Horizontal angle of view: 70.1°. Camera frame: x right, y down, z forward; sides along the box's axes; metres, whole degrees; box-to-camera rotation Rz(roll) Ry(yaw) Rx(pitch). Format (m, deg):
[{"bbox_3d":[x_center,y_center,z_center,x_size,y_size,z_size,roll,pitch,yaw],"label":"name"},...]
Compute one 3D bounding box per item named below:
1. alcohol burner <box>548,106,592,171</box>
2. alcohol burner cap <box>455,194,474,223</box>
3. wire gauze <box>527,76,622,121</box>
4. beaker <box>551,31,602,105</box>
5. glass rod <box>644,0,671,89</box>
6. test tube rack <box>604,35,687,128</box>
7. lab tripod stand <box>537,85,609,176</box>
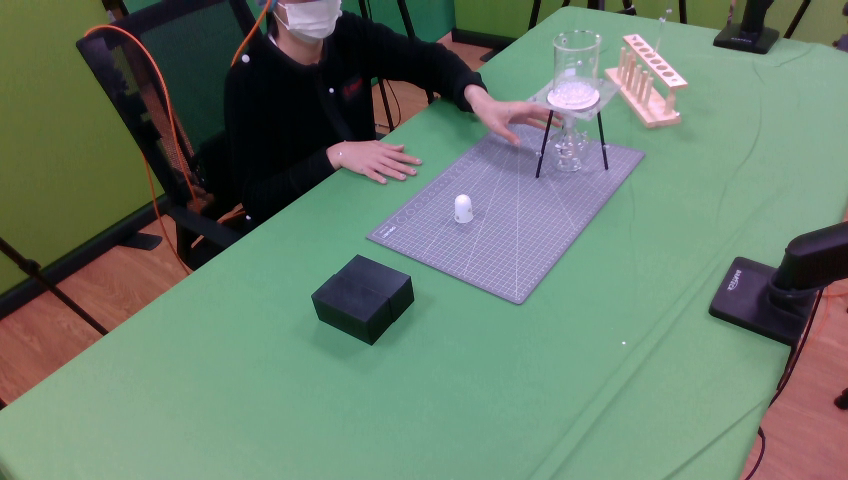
[{"bbox_3d":[0.258,-0.183,1.072,0.078,0.119,0.077,-6,41,6],"label":"alcohol burner"},{"bbox_3d":[0.066,-0.054,1.006,0.034,0.048,0.033,-5,40,5],"label":"alcohol burner cap"},{"bbox_3d":[0.255,-0.247,1.031,0.124,0.011,0.122,23,49,34],"label":"wire gauze"},{"bbox_3d":[0.252,-0.282,0.998,0.084,0.101,0.073,-16,42,-7],"label":"beaker"},{"bbox_3d":[0.463,-0.387,1.204,0.008,0.200,0.008,0,47,1],"label":"glass rod"},{"bbox_3d":[0.447,-0.330,1.241,0.067,0.085,0.241,-9,41,-2],"label":"test tube rack"},{"bbox_3d":[0.259,-0.192,1.068,0.148,0.132,0.147,-4,43,4],"label":"lab tripod stand"}]
